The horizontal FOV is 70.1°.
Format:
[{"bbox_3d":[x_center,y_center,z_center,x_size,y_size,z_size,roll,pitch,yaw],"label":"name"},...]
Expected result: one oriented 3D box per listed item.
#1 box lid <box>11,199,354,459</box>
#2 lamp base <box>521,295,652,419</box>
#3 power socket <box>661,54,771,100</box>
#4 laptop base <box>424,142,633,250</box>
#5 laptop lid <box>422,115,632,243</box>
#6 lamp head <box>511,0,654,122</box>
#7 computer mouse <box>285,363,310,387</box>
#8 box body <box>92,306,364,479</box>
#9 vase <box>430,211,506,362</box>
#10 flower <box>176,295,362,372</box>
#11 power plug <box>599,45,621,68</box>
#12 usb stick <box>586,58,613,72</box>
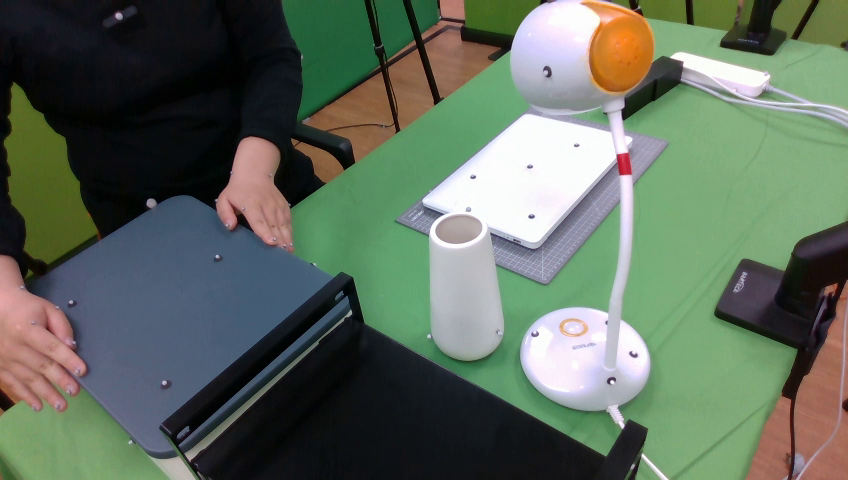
[{"bbox_3d":[-0.288,0.073,0.711,0.368,0.015,0.264,24,50,32],"label":"box lid"},{"bbox_3d":[0.201,0.095,0.710,0.161,0.181,0.177,-16,43,-10],"label":"lamp base"},{"bbox_3d":[0.614,-0.348,1.285,0.072,0.033,0.225,-36,48,-28],"label":"power socket"},{"bbox_3d":[0.193,-0.116,1.087,0.233,0.023,0.355,21,48,34],"label":"laptop base"},{"bbox_3d":[0.190,-0.126,1.081,0.239,0.013,0.358,23,48,34],"label":"laptop lid"},{"bbox_3d":[0.155,-0.168,0.564,0.113,0.113,0.122,-18,23,-12],"label":"lamp head"},{"bbox_3d":[-0.160,0.158,0.791,0.116,0.041,0.063,26,46,23],"label":"computer mouse"},{"bbox_3d":[-0.282,0.128,0.759,0.361,0.161,0.255,24,49,32],"label":"box body"},{"bbox_3d":[0.054,0.062,0.757,0.098,0.201,0.097,-3,40,3],"label":"vase"},{"bbox_3d":[-0.232,0.115,0.833,0.359,0.038,0.044,11,86,33],"label":"flower"},{"bbox_3d":[0.437,-0.422,1.412,0.053,0.035,0.072,-19,75,-46],"label":"power plug"},{"bbox_3d":[0.401,-0.399,1.380,0.059,0.027,0.021,1,48,20],"label":"usb stick"}]
